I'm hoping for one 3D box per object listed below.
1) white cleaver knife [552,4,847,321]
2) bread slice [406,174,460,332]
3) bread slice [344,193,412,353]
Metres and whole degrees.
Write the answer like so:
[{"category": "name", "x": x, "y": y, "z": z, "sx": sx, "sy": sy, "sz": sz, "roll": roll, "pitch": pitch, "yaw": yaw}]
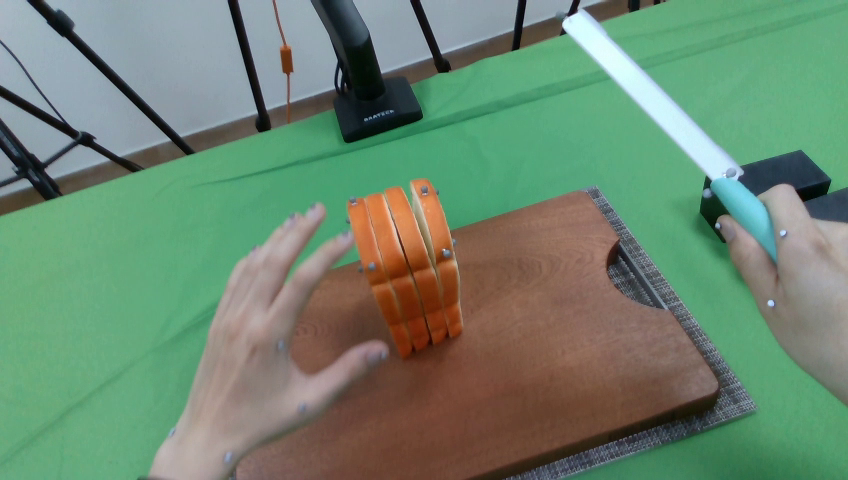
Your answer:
[{"category": "white cleaver knife", "x": 0.194, "y": -0.061, "z": 0.413, "sx": 0.286, "sy": 0.021, "sz": 0.066, "roll": 49, "pitch": 43, "yaw": 4}, {"category": "bread slice", "x": 0.008, "y": 0.006, "z": 0.551, "sx": 0.019, "sy": 0.133, "sz": 0.103, "roll": -15, "pitch": 46, "yaw": -7}, {"category": "bread slice", "x": -0.043, "y": 0.022, "z": 0.549, "sx": 0.018, "sy": 0.136, "sz": 0.106, "roll": -19, "pitch": 43, "yaw": -2}]
